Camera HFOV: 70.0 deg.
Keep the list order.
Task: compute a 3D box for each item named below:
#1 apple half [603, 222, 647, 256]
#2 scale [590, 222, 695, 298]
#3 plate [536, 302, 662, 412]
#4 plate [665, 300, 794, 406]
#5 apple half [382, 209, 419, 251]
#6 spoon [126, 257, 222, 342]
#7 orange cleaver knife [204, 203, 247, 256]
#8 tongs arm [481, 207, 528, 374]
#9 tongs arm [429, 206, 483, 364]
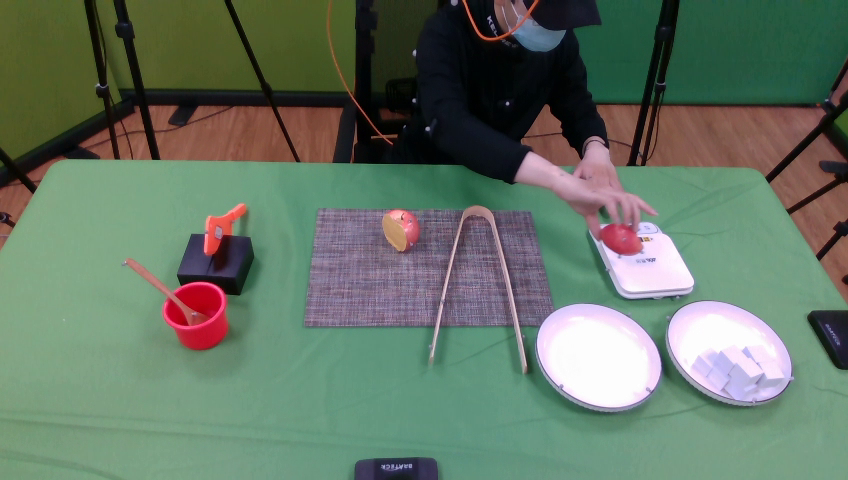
[{"bbox_3d":[0.360,0.005,1.100,0.081,0.082,0.032,24,55,18],"label":"apple half"},{"bbox_3d":[0.424,0.031,1.189,0.149,0.032,0.199,-3,46,-7],"label":"scale"},{"bbox_3d":[0.288,0.197,1.016,0.209,0.038,0.208,2,46,-2],"label":"plate"},{"bbox_3d":[0.513,0.194,1.033,0.208,0.039,0.206,2,46,-2],"label":"plate"},{"bbox_3d":[-0.039,-0.022,1.175,0.053,0.075,0.080,-27,50,-31],"label":"apple half"},{"bbox_3d":[-0.408,0.096,0.990,0.194,0.021,0.041,50,53,-18],"label":"spoon"},{"bbox_3d":[-0.374,-0.024,1.146,0.012,0.077,0.211,4,14,1],"label":"orange cleaver knife"},{"bbox_3d":[0.149,0.077,1.124,0.028,0.028,0.385,-4,46,-2],"label":"tongs arm"},{"bbox_3d":[0.065,0.069,1.124,0.051,0.026,0.382,8,45,5],"label":"tongs arm"}]
